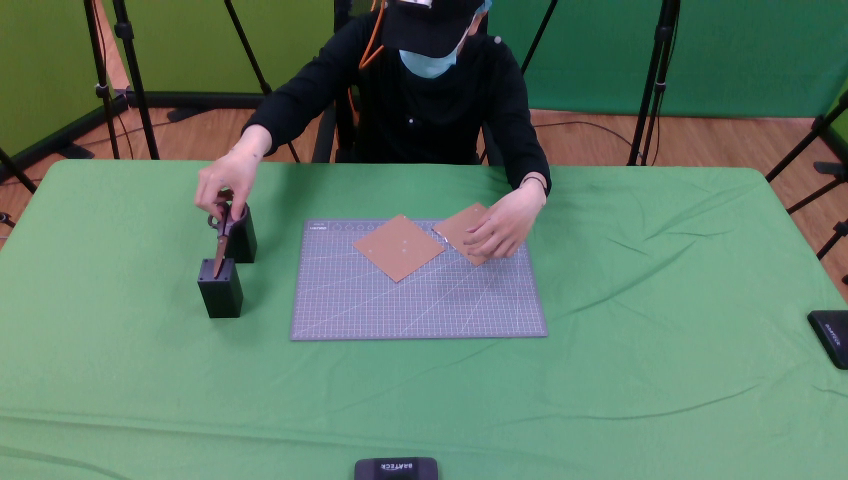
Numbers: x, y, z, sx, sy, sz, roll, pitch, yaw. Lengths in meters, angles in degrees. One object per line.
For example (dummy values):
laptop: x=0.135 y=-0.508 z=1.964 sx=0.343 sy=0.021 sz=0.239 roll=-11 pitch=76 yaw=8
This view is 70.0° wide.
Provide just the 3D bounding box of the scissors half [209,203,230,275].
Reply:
scissors half: x=-0.353 y=-0.003 z=1.044 sx=0.040 sy=0.013 sz=0.174 roll=-16 pitch=45 yaw=-1

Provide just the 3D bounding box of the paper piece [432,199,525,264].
paper piece: x=0.111 y=-0.020 z=1.227 sx=0.138 sy=0.009 sz=0.135 roll=-30 pitch=58 yaw=-29

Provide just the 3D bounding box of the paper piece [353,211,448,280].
paper piece: x=-0.047 y=0.008 z=1.188 sx=0.135 sy=0.004 sz=0.134 roll=-33 pitch=57 yaw=-30

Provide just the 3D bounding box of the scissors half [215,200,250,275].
scissors half: x=-0.334 y=-0.008 z=1.042 sx=0.040 sy=0.013 sz=0.174 roll=-8 pitch=47 yaw=15
